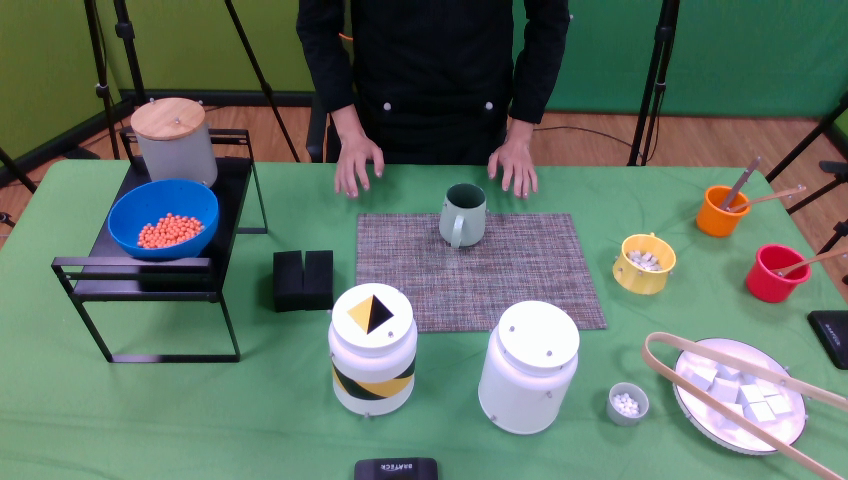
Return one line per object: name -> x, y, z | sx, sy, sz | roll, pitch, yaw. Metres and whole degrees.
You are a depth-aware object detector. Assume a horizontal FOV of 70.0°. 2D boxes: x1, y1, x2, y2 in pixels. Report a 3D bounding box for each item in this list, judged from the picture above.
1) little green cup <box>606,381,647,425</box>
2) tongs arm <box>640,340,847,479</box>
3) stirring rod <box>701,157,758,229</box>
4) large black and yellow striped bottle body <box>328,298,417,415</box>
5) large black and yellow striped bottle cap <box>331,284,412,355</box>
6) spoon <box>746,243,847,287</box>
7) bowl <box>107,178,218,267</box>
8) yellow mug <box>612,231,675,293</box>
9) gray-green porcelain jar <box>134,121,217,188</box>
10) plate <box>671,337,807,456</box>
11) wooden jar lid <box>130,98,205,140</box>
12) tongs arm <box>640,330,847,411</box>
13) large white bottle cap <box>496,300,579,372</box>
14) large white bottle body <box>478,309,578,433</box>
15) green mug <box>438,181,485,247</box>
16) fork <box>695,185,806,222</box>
little green cup -> 0.319, 0.261, 0.962 | 0.061, 0.039, 0.061 | 2, 45, -2
tongs arm -> 0.500, 0.277, 0.919 | 0.386, 0.028, 0.028 | 34, 59, 22
stirring rod -> 0.634, -0.097, 1.257 | 0.014, 0.006, 0.176 | 38, 97, 30
large black and yellow striped bottle body -> -0.078, 0.167, 0.920 | 0.131, 0.185, 0.130 | 2, 46, -2
large black and yellow striped bottle cap -> -0.073, 0.110, 0.858 | 0.115, 0.019, 0.114 | 2, 46, -2
spoon -> 0.702, 0.043, 1.126 | 0.194, 0.022, 0.041 | -29, 38, 30
bowl -> -0.374, -0.014, 0.893 | 0.151, 0.077, 0.150 | 2, 46, -2
yellow mug -> 0.424, 0.033, 1.168 | 0.100, 0.064, 0.130 | 18, 47, 13
gray-green porcelain jar -> -0.397, -0.141, 0.980 | 0.106, 0.127, 0.105 | 2, 47, -2
plate -> 0.503, 0.254, 0.984 | 0.208, 0.039, 0.206 | 2, 46, -2
wooden jar lid -> -0.393, -0.183, 0.934 | 0.108, 0.021, 0.107 | 2, 44, -2
tongs arm -> 0.543, 0.226, 0.969 | 0.384, 0.026, 0.050 | 22, 52, 14
large white bottle cap -> 0.160, 0.133, 0.852 | 0.115, 0.018, 0.114 | 3, 46, -3
large white bottle body -> 0.156, 0.192, 0.913 | 0.131, 0.185, 0.130 | 2, 46, -2
green mug -> 0.071, -0.039, 1.177 | 0.092, 0.105, 0.124 | 12, 47, 7
fork -> 0.657, -0.074, 1.230 | 0.207, 0.019, 0.028 | -23, 36, 37
